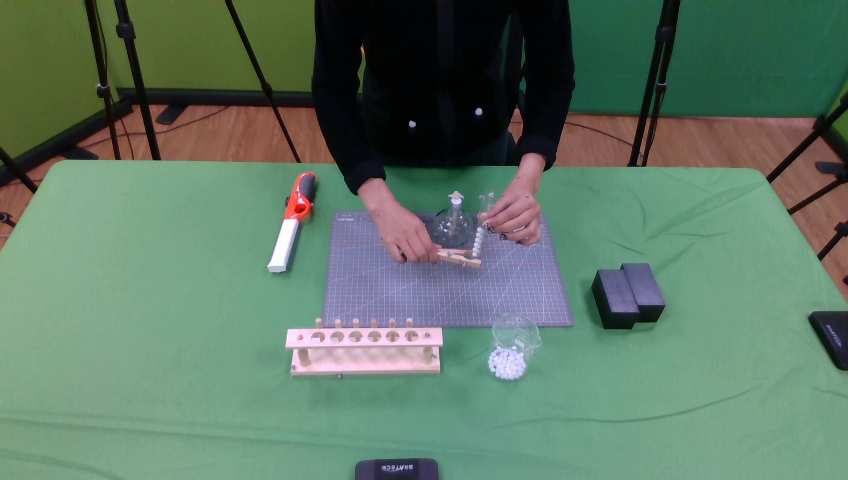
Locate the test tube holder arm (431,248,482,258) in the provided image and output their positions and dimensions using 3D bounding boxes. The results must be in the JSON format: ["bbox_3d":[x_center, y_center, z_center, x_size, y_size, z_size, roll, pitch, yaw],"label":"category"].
[{"bbox_3d":[0.056,0.023,1.056,0.088,0.015,0.010,1,48,-4],"label":"test tube holder arm"}]

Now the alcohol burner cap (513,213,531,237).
[{"bbox_3d":[0.200,-0.034,1.227,0.034,0.048,0.033,1,45,-1],"label":"alcohol burner cap"}]

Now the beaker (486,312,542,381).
[{"bbox_3d":[0.144,0.177,0.985,0.084,0.101,0.074,22,49,16],"label":"beaker"}]

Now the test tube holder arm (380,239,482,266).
[{"bbox_3d":[0.011,0.022,1.053,0.178,0.015,0.013,10,48,4],"label":"test tube holder arm"}]

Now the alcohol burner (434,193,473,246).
[{"bbox_3d":[0.058,-0.046,1.179,0.078,0.120,0.077,1,48,-1],"label":"alcohol burner"}]

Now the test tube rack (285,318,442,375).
[{"bbox_3d":[-0.095,0.168,0.986,0.242,0.085,0.066,0,46,-4],"label":"test tube rack"}]

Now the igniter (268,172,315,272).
[{"bbox_3d":[-0.263,-0.045,1.219,0.057,0.025,0.275,-2,45,8],"label":"igniter"}]

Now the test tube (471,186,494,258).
[{"bbox_3d":[0.095,-0.027,0.996,0.017,0.151,0.017,4,43,-4],"label":"test tube"}]
